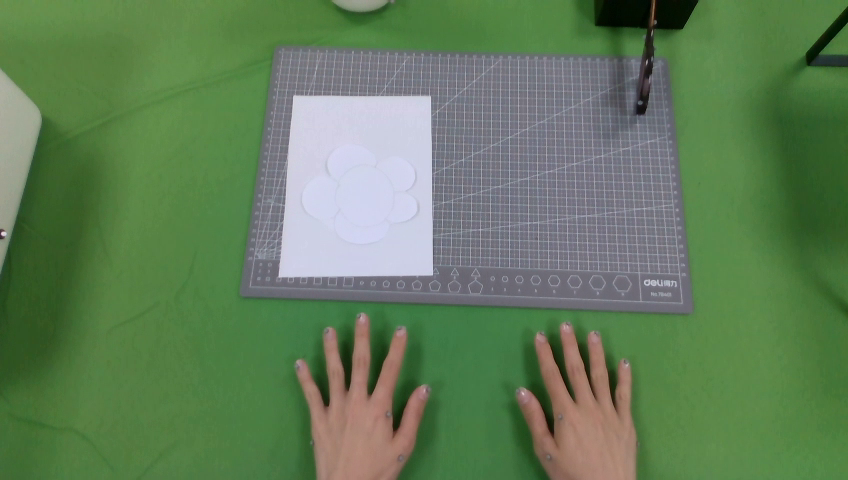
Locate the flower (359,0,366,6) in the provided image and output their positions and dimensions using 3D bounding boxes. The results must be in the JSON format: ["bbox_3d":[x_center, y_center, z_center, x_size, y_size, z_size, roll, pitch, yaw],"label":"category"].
[{"bbox_3d":[-0.087,-0.382,0.561,0.044,0.365,0.038,-5,53,3],"label":"flower"}]

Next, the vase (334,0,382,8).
[{"bbox_3d":[-0.080,-0.342,0.635,0.098,0.201,0.097,-1,70,2],"label":"vase"}]

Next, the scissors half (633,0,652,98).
[{"bbox_3d":[0.237,-0.231,0.639,0.013,0.040,0.174,8,72,12],"label":"scissors half"}]

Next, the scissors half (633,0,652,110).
[{"bbox_3d":[0.242,-0.227,0.659,0.012,0.040,0.175,7,90,18],"label":"scissors half"}]

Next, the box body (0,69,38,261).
[{"bbox_3d":[-0.545,-0.019,0.549,0.254,0.161,0.361,2,71,1],"label":"box body"}]
